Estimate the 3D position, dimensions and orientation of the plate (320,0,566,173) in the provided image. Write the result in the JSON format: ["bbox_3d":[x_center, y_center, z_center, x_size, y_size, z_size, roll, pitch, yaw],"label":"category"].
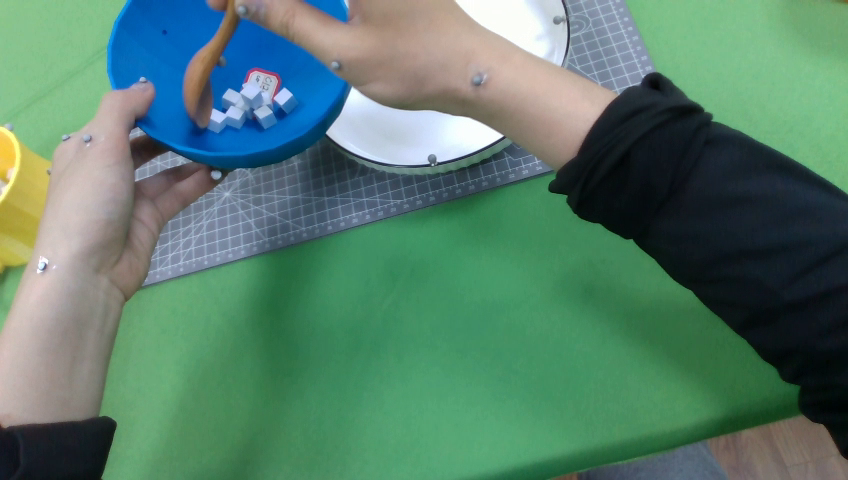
[{"bbox_3d":[0.004,-0.140,0.467,0.209,0.038,0.207,-5,67,11],"label":"plate"}]

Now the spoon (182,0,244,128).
[{"bbox_3d":[-0.105,-0.113,0.313,0.022,0.193,0.041,14,66,-25],"label":"spoon"}]

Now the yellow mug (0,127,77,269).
[{"bbox_3d":[-0.357,-0.022,0.493,0.099,0.064,0.130,7,70,16],"label":"yellow mug"}]

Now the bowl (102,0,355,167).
[{"bbox_3d":[-0.119,-0.107,0.403,0.151,0.077,0.150,1,72,-3],"label":"bowl"}]
